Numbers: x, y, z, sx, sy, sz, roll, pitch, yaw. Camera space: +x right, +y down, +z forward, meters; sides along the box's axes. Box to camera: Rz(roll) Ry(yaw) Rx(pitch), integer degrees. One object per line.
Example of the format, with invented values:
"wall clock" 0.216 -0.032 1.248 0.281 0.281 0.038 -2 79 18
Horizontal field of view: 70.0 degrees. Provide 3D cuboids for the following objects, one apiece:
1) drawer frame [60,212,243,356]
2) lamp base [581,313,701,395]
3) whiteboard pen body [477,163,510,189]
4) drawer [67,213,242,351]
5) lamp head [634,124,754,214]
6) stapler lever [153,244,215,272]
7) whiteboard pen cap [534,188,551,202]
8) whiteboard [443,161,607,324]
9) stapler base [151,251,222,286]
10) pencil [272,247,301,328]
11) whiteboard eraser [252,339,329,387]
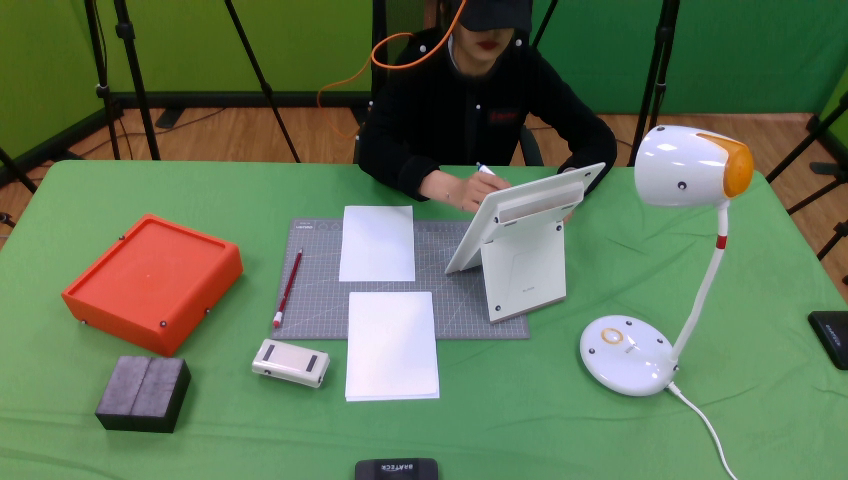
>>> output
"drawer frame" -0.462 0.070 1.053 0.201 0.083 0.213 18 48 12
"lamp base" 0.361 0.144 0.973 0.178 0.181 0.160 34 53 23
"whiteboard pen body" 0.146 -0.092 1.077 0.017 0.017 0.140 -31 61 -29
"drawer" -0.461 0.068 1.056 0.194 0.073 0.211 19 48 13
"lamp head" 0.351 -0.089 0.775 0.112 0.113 0.122 -30 30 -28
"stapler lever" -0.430 0.025 1.088 0.118 0.040 0.027 16 34 13
"whiteboard pen cap" 0.227 -0.086 1.166 0.033 0.018 0.018 26 36 -33
"whiteboard" 0.185 0.026 1.028 0.217 0.306 0.143 -15 68 -18
"stapler base" -0.431 0.047 1.102 0.130 0.024 0.041 17 34 12
"pencil" -0.248 0.081 1.104 0.012 0.012 0.193 6 45 1
"whiteboard eraser" -0.215 0.199 0.976 0.112 0.042 0.055 12 45 7
